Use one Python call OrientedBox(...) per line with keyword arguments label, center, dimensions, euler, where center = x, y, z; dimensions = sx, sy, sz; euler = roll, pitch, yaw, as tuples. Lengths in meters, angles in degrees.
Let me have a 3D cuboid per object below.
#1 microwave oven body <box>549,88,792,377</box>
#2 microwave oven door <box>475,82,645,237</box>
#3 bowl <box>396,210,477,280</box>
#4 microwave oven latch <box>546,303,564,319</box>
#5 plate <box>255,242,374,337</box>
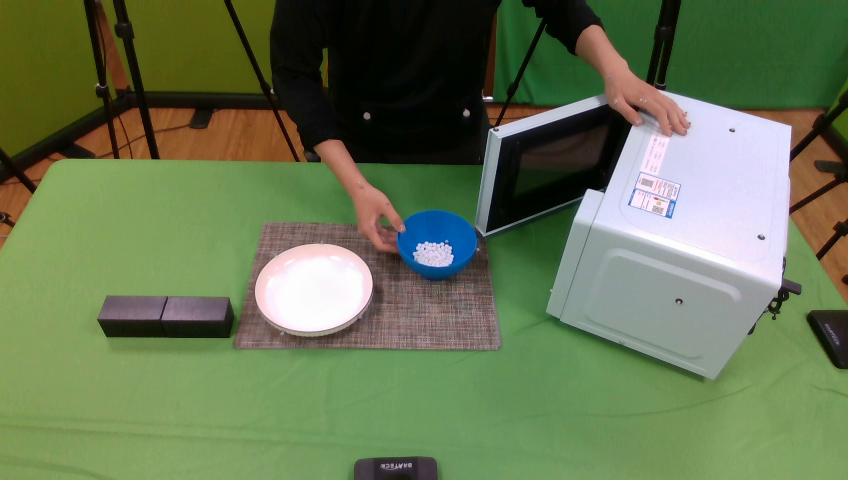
OrientedBox(label="microwave oven body", center=(0.456, -0.028, 1.088), dimensions=(0.325, 0.261, 0.440), euler=(20, 47, 16))
OrientedBox(label="microwave oven door", center=(0.268, -0.159, 1.193), dimensions=(0.356, 0.245, 0.039), euler=(-21, 50, -22))
OrientedBox(label="bowl", center=(0.021, 0.022, 1.134), dimensions=(0.151, 0.077, 0.150), euler=(2, 45, -2))
OrientedBox(label="microwave oven latch", center=(0.242, 0.102, 1.081), dimensions=(0.030, 0.029, 0.079), euler=(22, 48, 17))
OrientedBox(label="plate", center=(-0.192, 0.090, 1.079), dimensions=(0.208, 0.039, 0.206), euler=(2, 46, -2))
